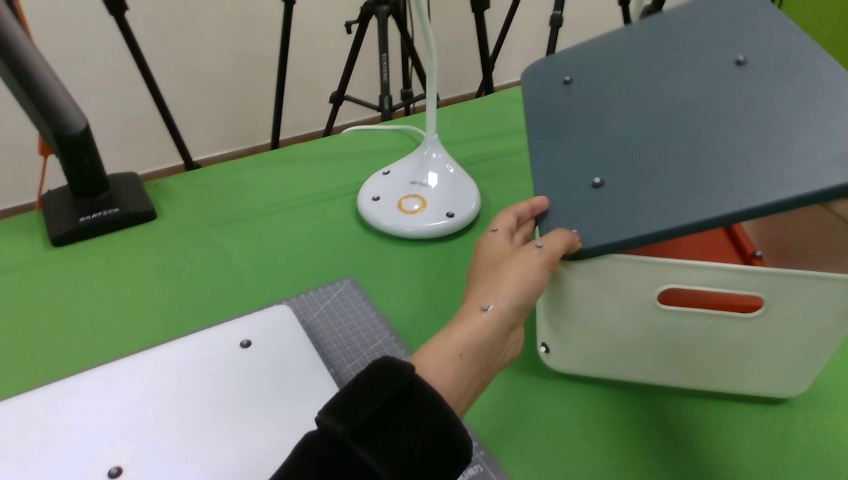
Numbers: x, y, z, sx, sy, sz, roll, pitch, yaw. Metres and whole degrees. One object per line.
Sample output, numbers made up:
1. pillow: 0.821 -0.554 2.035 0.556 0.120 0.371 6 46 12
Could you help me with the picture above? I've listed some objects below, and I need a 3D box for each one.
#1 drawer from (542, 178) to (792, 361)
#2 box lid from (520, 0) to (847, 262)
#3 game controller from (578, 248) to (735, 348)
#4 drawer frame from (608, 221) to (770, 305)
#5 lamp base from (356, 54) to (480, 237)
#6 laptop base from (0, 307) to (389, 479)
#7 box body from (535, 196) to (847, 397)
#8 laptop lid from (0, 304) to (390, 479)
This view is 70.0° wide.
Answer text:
1. drawer: 0.230 0.020 0.625 0.194 0.074 0.210 4 37 2
2. box lid: 0.223 -0.125 0.561 0.263 0.015 0.368 -16 35 17
3. game controller: 0.231 0.055 0.600 0.155 0.052 0.096 1 66 0
4. drawer frame: 0.228 0.020 0.627 0.202 0.083 0.211 3 36 2
5. lamp base: -0.005 -0.123 0.742 0.160 0.182 0.178 5 35 6
6. laptop base: -0.231 0.184 0.462 0.355 0.023 0.233 -19 45 -25
7. box body: 0.247 -0.025 0.636 0.254 0.162 0.361 5 37 6
8. laptop lid: -0.230 0.176 0.454 0.357 0.013 0.239 -18 43 -23
